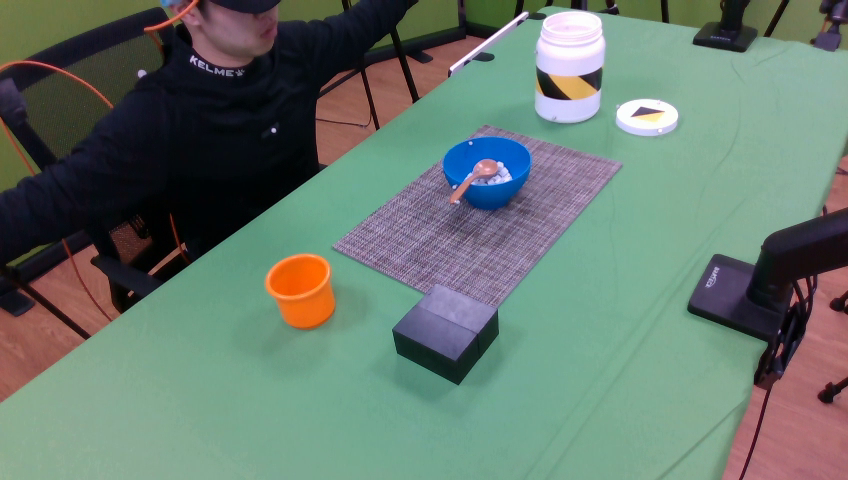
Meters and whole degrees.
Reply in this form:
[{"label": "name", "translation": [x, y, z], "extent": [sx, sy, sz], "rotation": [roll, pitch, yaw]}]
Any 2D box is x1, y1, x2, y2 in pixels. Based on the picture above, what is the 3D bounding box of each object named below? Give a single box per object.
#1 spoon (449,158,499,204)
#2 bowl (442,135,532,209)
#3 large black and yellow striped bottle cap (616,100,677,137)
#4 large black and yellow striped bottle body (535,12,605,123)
[{"label": "spoon", "translation": [0.076, -0.096, 0.967], "extent": [0.041, 0.021, 0.194], "rotation": [14, 27, 20]}, {"label": "bowl", "translation": [0.108, -0.106, 1.026], "extent": [0.151, 0.077, 0.150], "rotation": [-4, 41, 4]}, {"label": "large black and yellow striped bottle cap", "translation": [0.438, -0.241, 1.190], "extent": [0.115, 0.019, 0.114], "rotation": [-4, 42, 4]}, {"label": "large black and yellow striped bottle body", "translation": [0.287, -0.341, 1.197], "extent": [0.131, 0.185, 0.130], "rotation": [-4, 41, 4]}]
